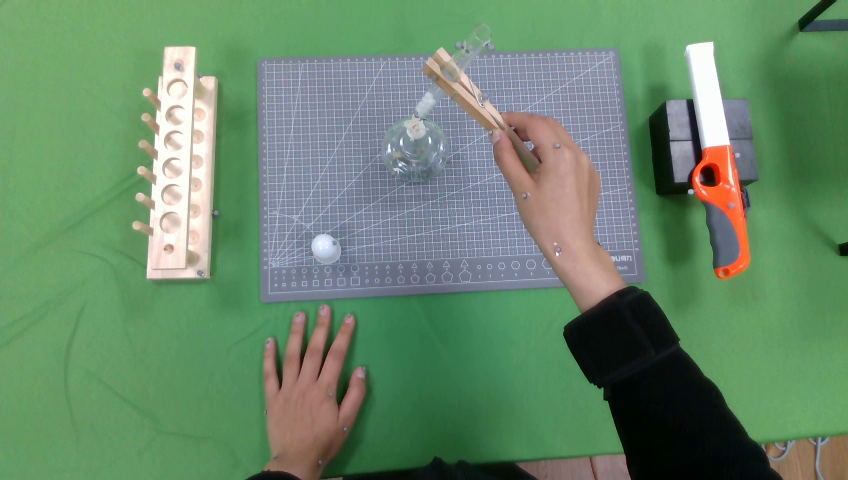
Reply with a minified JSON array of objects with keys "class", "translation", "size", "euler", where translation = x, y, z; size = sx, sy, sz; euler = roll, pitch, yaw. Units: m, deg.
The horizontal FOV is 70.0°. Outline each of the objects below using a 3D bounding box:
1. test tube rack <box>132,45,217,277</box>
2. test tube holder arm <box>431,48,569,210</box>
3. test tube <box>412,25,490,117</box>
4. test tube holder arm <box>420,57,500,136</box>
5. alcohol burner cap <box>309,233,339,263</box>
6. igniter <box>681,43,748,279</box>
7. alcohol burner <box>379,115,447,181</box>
[{"class":"test tube rack","translation":[-0.280,-0.084,0.672],"size":[0.067,0.085,0.241],"euler":[-1,80,-3]},{"class":"test tube holder arm","translation":[0.068,-0.096,0.535],"size":[0.179,0.015,0.013],"euler":[47,68,-6]},{"class":"test tube","translation":[0.019,-0.142,0.528],"size":[0.017,0.150,0.017],"euler":[4,77,-19]},{"class":"test tube holder arm","translation":[0.033,-0.124,0.527],"size":[0.088,0.015,0.010],"euler":[40,69,-9]},{"class":"alcohol burner cap","translation":[-0.115,0.007,0.684],"size":[0.034,0.048,0.033],"euler":[1,80,-4]},{"class":"igniter","translation":[0.329,-0.093,0.690],"size":[0.057,0.025,0.275],"euler":[-5,79,8]},{"class":"alcohol burner","translation":[-0.012,-0.107,0.674],"size":[0.078,0.119,0.077],"euler":[0,81,-2]}]
